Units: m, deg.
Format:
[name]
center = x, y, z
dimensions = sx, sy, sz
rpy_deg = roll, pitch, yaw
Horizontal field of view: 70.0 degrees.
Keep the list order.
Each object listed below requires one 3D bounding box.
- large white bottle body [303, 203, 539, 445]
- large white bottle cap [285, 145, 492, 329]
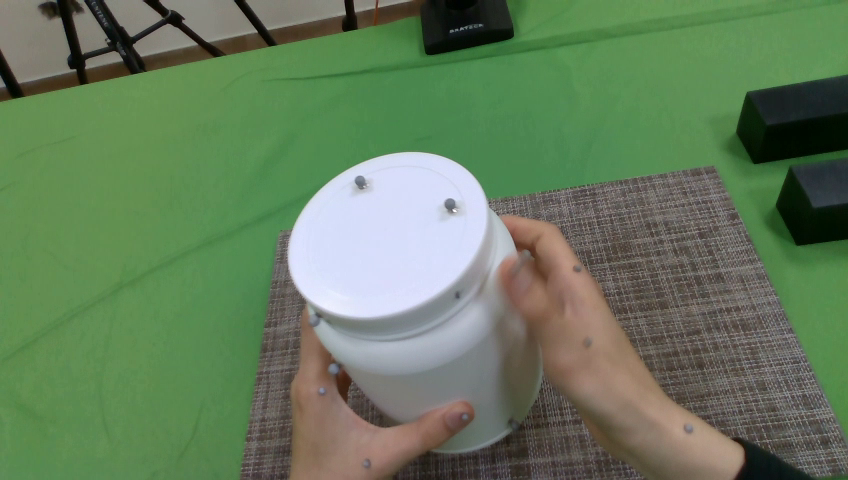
[large white bottle body]
center = 0.001, 0.044, 0.398
dimensions = 0.130, 0.186, 0.129
rpy_deg = -9, 52, 12
[large white bottle cap]
center = -0.021, -0.006, 0.331
dimensions = 0.114, 0.018, 0.113
rpy_deg = -9, 53, 12
